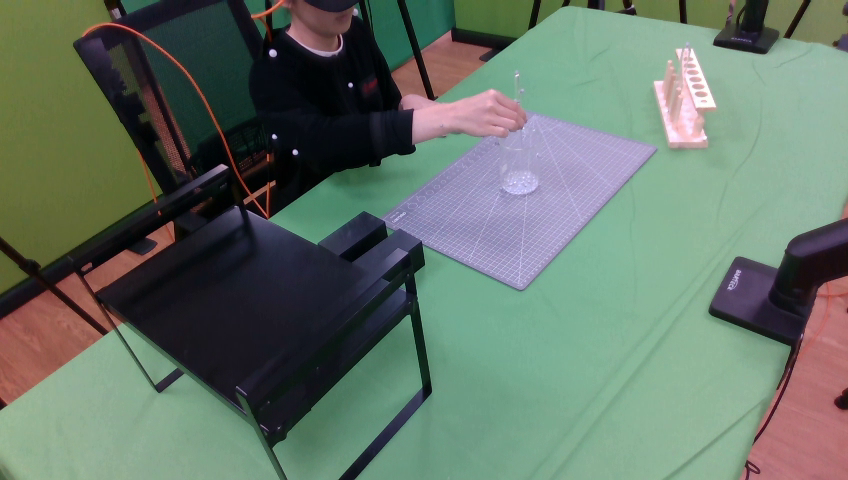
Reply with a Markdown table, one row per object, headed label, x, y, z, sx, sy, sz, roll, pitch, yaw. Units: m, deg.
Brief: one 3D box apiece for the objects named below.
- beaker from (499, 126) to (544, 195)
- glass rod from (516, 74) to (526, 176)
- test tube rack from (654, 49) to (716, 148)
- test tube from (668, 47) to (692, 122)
| label | x | y | z | sx | sy | sz | roll | pitch | yaw |
| --- | --- | --- | --- | --- | --- | --- | --- | --- | --- |
| beaker | 0.170 | -0.137 | 1.045 | 0.073 | 0.101 | 0.084 | 12 | 44 | 21 |
| glass rod | 0.164 | -0.187 | 1.014 | 0.008 | 0.201 | 0.008 | -7 | 43 | 7 |
| test tube rack | 0.502 | -0.281 | 1.176 | 0.066 | 0.085 | 0.241 | 1 | 41 | 11 |
| test tube | 0.472 | -0.285 | 1.117 | 0.017 | 0.151 | 0.017 | -4 | 44 | 4 |
